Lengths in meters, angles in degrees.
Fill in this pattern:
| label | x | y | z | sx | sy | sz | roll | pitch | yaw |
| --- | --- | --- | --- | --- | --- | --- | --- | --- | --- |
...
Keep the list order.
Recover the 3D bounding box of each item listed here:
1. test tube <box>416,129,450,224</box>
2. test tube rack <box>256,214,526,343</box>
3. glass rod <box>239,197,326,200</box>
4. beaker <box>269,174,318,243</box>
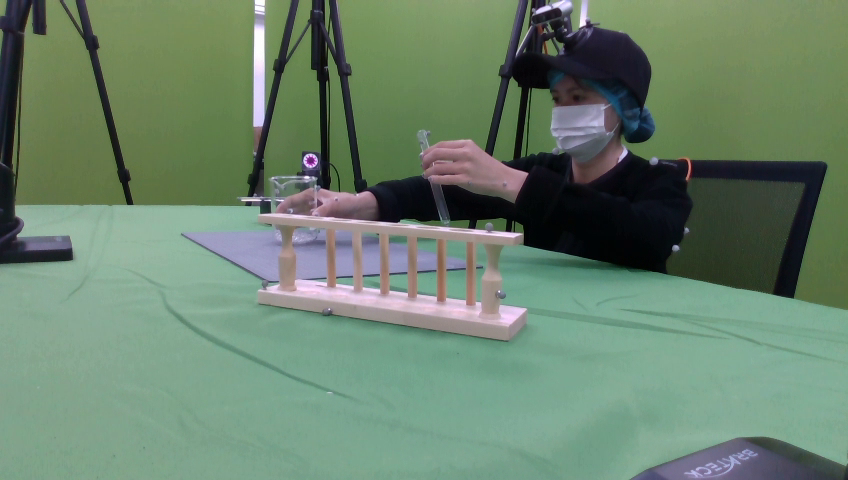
| label | x | y | z | sx | sy | sz | roll | pitch | yaw |
| --- | --- | --- | --- | --- | --- | --- | --- | --- | --- |
| test tube | 0.014 | -0.096 | 0.911 | 0.017 | 0.150 | 0.017 | -15 | -8 | -2 |
| test tube rack | -0.032 | 0.027 | 0.547 | 0.241 | 0.085 | 0.067 | 5 | 7 | 22 |
| glass rod | -0.288 | -0.087 | 1.250 | 0.201 | 0.008 | 0.008 | -4 | 10 | -42 |
| beaker | -0.203 | -0.049 | 0.940 | 0.074 | 0.100 | 0.084 | 2 | 12 | 11 |
